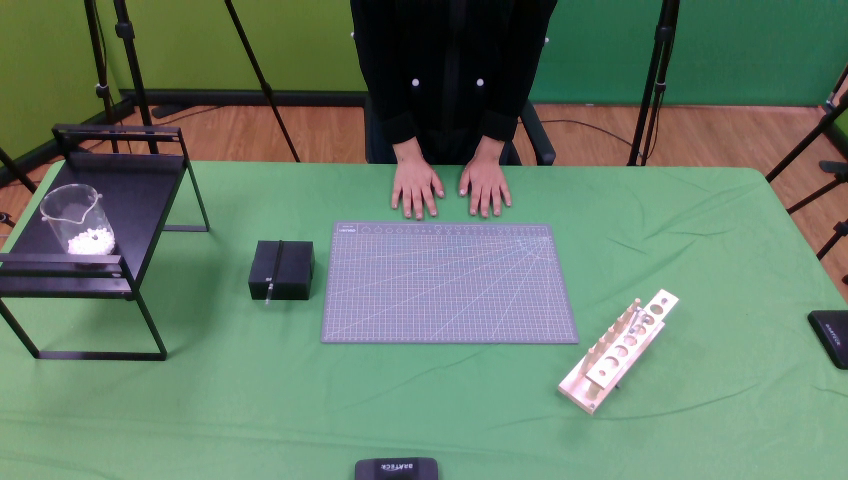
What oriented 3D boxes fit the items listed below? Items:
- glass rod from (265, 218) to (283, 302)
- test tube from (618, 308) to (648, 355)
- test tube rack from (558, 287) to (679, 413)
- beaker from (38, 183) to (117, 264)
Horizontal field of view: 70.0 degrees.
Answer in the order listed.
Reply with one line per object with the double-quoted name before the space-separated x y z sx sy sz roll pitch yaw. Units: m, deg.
"glass rod" -0.267 0.031 1.084 0.008 0.008 0.198 1 47 -3
"test tube" 0.327 0.154 0.956 0.017 0.151 0.017 -1 50 1
"test tube rack" 0.326 0.170 1.009 0.066 0.085 0.242 36 54 27
"beaker" -0.493 -0.019 0.874 0.074 0.101 0.083 -29 55 -27
